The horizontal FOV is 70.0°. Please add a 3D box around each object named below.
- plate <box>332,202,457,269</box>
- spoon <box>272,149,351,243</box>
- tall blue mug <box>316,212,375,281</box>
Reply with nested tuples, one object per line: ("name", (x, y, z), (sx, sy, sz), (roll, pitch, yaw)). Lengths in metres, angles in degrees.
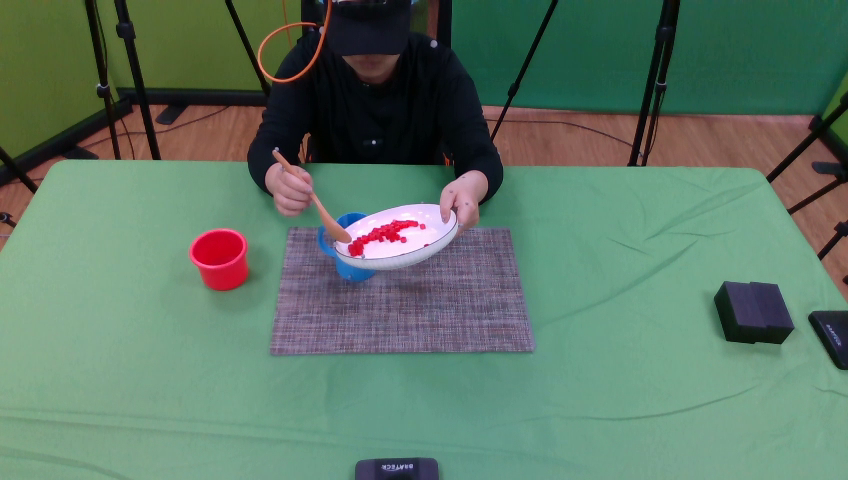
("plate", (-0.045, -0.004, 0.994), (0.207, 0.039, 0.206), (-11, 24, 5))
("spoon", (-0.184, -0.071, 0.984), (0.021, 0.041, 0.193), (-35, 87, -32))
("tall blue mug", (-0.142, 0.014, 1.109), (0.107, 0.108, 0.077), (-5, 47, -9))
